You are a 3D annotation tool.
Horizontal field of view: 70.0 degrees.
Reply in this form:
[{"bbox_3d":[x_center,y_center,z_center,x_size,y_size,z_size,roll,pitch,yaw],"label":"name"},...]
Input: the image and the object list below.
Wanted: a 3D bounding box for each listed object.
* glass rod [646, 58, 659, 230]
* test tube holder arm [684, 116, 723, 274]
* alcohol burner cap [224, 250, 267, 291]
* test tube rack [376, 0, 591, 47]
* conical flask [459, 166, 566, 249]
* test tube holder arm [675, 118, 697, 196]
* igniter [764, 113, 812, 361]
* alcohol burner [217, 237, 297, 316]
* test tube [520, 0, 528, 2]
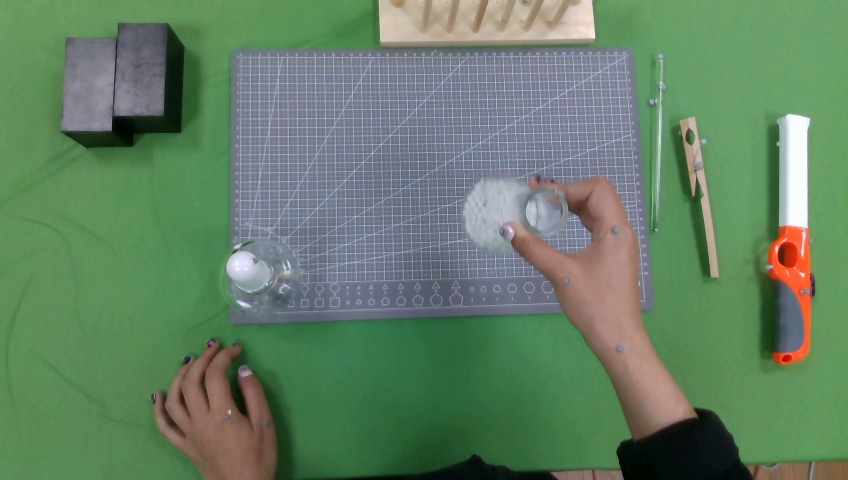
[{"bbox_3d":[0.258,-0.109,0.681,0.008,0.008,0.199,5,84,-3],"label":"glass rod"},{"bbox_3d":[0.307,-0.050,0.669,0.013,0.015,0.178,-14,81,31],"label":"test tube holder arm"},{"bbox_3d":[-0.162,0.025,0.544,0.034,0.048,0.033,1,72,-3],"label":"alcohol burner cap"},{"bbox_3d":[0.069,-0.261,0.654,0.242,0.085,0.066,-2,81,-4],"label":"test tube rack"},{"bbox_3d":[0.077,-0.027,0.500,0.075,0.121,0.075,-1,94,-10],"label":"conical flask"},{"bbox_3d":[0.295,-0.093,0.678,0.010,0.015,0.087,-13,82,31],"label":"test tube holder arm"},{"bbox_3d":[0.400,-0.005,0.666,0.057,0.025,0.275,8,81,-12],"label":"igniter"},{"bbox_3d":[-0.163,0.033,0.580,0.078,0.119,0.077,0,80,-1],"label":"alcohol burner"},{"bbox_3d":[0.111,-0.288,0.611,0.017,0.151,0.017,0,79,1],"label":"test tube"}]
